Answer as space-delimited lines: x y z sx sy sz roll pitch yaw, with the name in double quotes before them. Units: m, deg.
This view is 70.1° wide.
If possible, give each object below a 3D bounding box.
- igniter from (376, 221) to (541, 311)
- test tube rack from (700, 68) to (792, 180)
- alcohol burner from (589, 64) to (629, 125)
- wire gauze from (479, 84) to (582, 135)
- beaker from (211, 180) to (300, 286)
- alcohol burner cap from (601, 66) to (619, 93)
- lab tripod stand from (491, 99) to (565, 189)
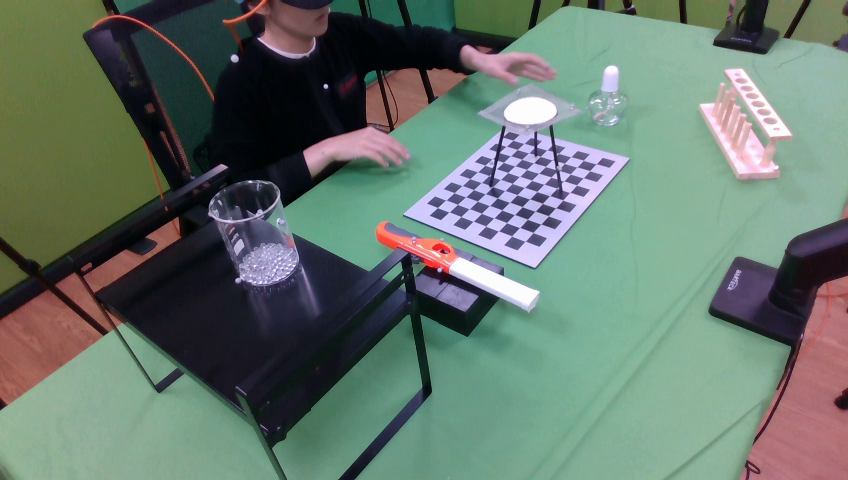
"igniter" 0.037 0.031 0.858 0.274 0.025 0.057 24 46 29
"test tube rack" 0.572 -0.215 1.089 0.066 0.085 0.241 -3 41 7
"alcohol burner" 0.364 -0.287 1.184 0.078 0.119 0.077 -4 39 4
"wire gauze" 0.176 -0.216 1.006 0.125 0.011 0.120 -29 46 -22
"beaker" -0.183 -0.007 0.674 0.074 0.101 0.083 -1 40 7
"alcohol burner cap" 0.361 -0.312 1.166 0.034 0.048 0.033 -3 38 3
"lab tripod stand" 0.184 -0.163 1.046 0.148 0.132 0.147 -5 42 5
